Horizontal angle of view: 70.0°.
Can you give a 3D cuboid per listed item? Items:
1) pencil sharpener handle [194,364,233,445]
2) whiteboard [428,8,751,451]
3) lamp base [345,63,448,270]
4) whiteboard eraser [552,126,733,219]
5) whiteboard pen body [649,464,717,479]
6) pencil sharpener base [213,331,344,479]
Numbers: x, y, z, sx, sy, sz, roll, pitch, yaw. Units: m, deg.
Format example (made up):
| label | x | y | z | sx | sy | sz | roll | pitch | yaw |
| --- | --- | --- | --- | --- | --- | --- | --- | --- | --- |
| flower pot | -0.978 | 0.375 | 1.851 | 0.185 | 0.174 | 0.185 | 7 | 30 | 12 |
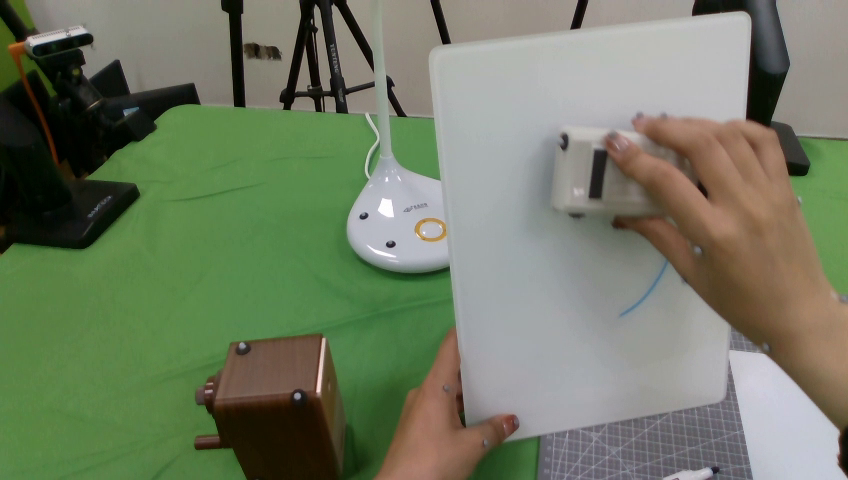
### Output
| label | x | y | z | sx | sy | sz | roll | pitch | yaw |
| --- | --- | --- | --- | --- | --- | --- | --- | --- | --- |
| pencil sharpener handle | -0.156 | 0.122 | 0.439 | 0.030 | 0.068 | 0.035 | -5 | 26 | -1 |
| whiteboard | 0.117 | -0.014 | 0.497 | 0.217 | 0.307 | 0.143 | -8 | 20 | -5 |
| lamp base | -0.021 | -0.087 | 0.650 | 0.161 | 0.182 | 0.177 | -26 | 42 | -26 |
| whiteboard eraser | 0.142 | -0.044 | 0.400 | 0.113 | 0.056 | 0.041 | 2 | 17 | -10 |
| whiteboard pen body | 0.148 | 0.183 | 0.430 | 0.141 | 0.017 | 0.017 | -14 | 40 | -13 |
| pencil sharpener base | -0.105 | 0.126 | 0.450 | 0.077 | 0.108 | 0.060 | -5 | 39 | -1 |
